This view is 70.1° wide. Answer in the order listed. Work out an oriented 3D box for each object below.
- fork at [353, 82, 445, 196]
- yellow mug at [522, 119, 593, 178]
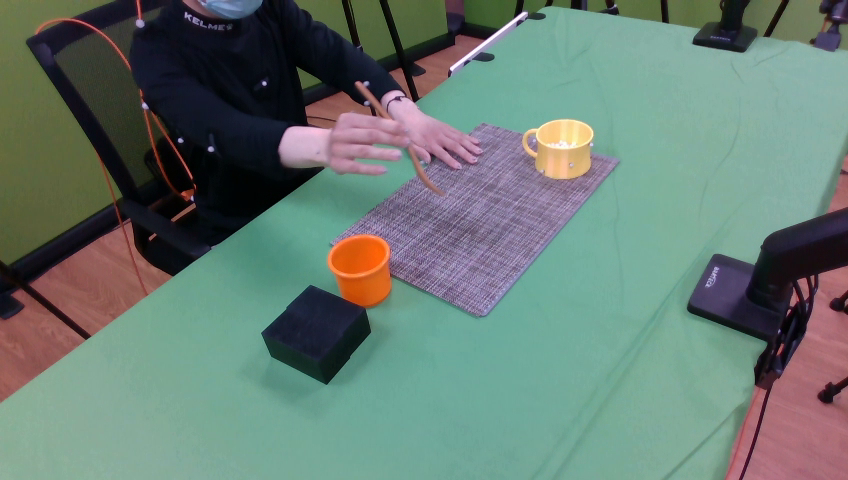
[{"bbox_3d":[-0.033,-0.138,0.851,0.018,0.208,0.028,-39,25,-7],"label":"fork"},{"bbox_3d":[0.237,-0.170,1.092,0.130,0.064,0.100,17,47,27],"label":"yellow mug"}]
